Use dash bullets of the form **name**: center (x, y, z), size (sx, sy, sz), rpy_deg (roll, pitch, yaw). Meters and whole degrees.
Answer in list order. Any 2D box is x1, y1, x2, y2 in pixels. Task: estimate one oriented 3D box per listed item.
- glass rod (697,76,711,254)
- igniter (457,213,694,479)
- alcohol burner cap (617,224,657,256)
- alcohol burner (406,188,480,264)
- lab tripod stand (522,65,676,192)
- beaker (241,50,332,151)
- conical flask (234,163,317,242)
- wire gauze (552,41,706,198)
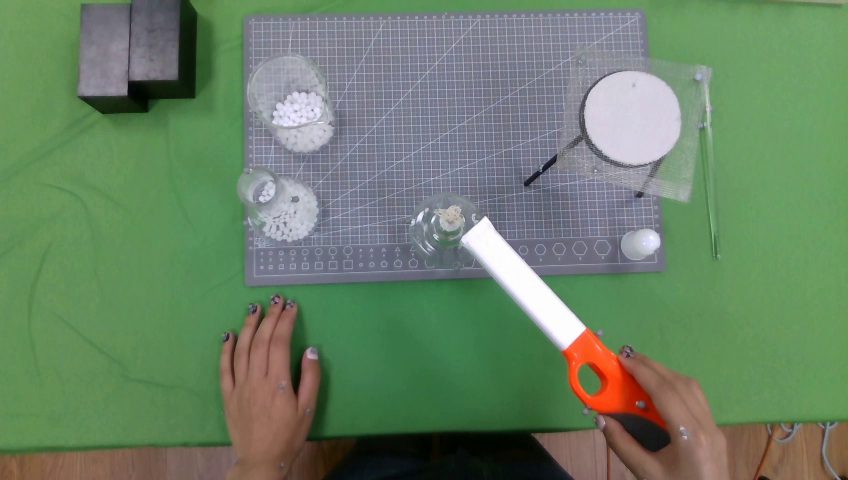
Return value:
- **glass rod**: center (0.311, -0.084, 0.672), size (0.008, 0.008, 0.199), rpy_deg (-1, 86, -3)
- **igniter**: center (0.130, 0.090, 0.513), size (0.057, 0.025, 0.276), rpy_deg (-41, 87, -13)
- **alcohol burner cap**: center (0.227, -0.002, 0.639), size (0.034, 0.048, 0.034), rpy_deg (0, 82, -2)
- **alcohol burner**: center (0.020, -0.017, 0.596), size (0.078, 0.119, 0.077), rpy_deg (0, 83, 0)
- **lab tripod stand**: center (0.176, -0.102, 0.602), size (0.148, 0.131, 0.148), rpy_deg (0, 85, -2)
- **beaker**: center (-0.130, -0.134, 0.611), size (0.084, 0.100, 0.074), rpy_deg (34, 83, 2)
- **conical flask**: center (-0.149, -0.041, 0.588), size (0.075, 0.122, 0.075), rpy_deg (0, 83, -2)
- **wire gauze**: center (0.181, -0.109, 0.536), size (0.125, 0.011, 0.121), rpy_deg (12, 84, 0)
